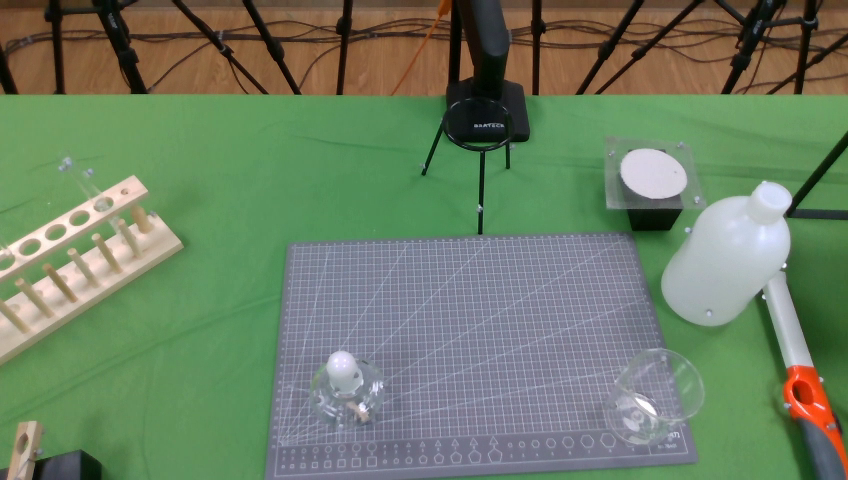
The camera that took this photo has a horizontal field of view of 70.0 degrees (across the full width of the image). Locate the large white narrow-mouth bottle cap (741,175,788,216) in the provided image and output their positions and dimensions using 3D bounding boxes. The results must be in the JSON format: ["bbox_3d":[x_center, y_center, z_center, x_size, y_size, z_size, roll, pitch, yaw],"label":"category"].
[{"bbox_3d":[0.338,-0.044,0.604,0.038,0.024,0.037,1,56,-1],"label":"large white narrow-mouth bottle cap"}]

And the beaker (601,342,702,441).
[{"bbox_3d":[0.225,0.159,0.622,0.084,0.101,0.073,3,56,1],"label":"beaker"}]

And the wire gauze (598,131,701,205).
[{"bbox_3d":[0.291,-0.094,0.794,0.121,0.011,0.124,4,56,1],"label":"wire gauze"}]

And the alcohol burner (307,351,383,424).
[{"bbox_3d":[-0.081,0.142,0.616,0.078,0.120,0.077,2,55,-2],"label":"alcohol burner"}]

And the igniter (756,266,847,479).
[{"bbox_3d":[0.421,0.148,0.683,0.057,0.025,0.274,8,56,-8],"label":"igniter"}]

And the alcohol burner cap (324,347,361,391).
[{"bbox_3d":[-0.081,0.123,0.585,0.034,0.048,0.033,-2,56,3],"label":"alcohol burner cap"}]

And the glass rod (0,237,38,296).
[{"bbox_3d":[-0.449,0.001,0.639,0.008,0.201,0.008,3,47,-3],"label":"glass rod"}]

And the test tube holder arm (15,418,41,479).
[{"bbox_3d":[-0.365,0.250,0.539,0.013,0.015,0.176,-10,61,1],"label":"test tube holder arm"}]

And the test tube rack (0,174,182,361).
[{"bbox_3d":[-0.416,0.031,0.699,0.242,0.086,0.066,-38,65,-24],"label":"test tube rack"}]

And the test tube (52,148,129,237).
[{"bbox_3d":[-0.378,-0.050,0.695,0.017,0.151,0.017,-2,55,3],"label":"test tube"}]

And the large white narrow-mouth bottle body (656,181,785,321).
[{"bbox_3d":[0.337,0.006,0.675,0.102,0.196,0.101,1,56,-1],"label":"large white narrow-mouth bottle body"}]

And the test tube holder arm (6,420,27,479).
[{"bbox_3d":[-0.377,0.212,0.561,0.010,0.015,0.087,-9,61,1],"label":"test tube holder arm"}]

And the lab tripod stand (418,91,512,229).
[{"bbox_3d":[0.062,-0.110,0.781,0.148,0.132,0.147,2,57,-2],"label":"lab tripod stand"}]
